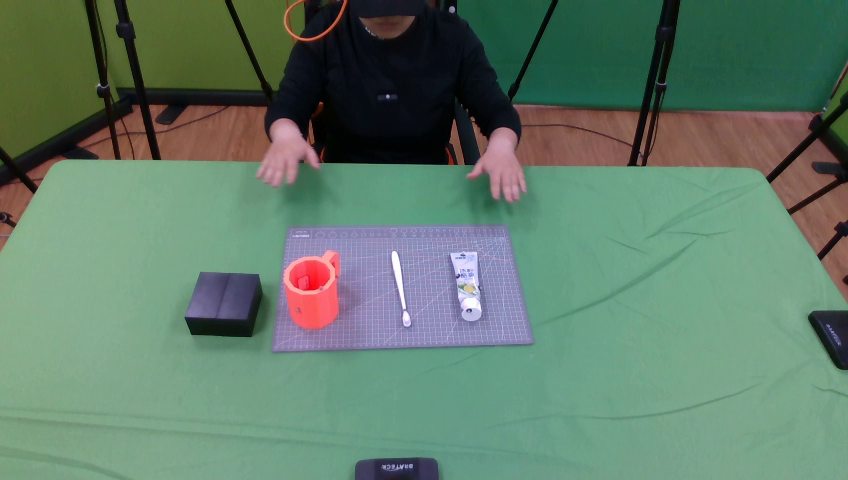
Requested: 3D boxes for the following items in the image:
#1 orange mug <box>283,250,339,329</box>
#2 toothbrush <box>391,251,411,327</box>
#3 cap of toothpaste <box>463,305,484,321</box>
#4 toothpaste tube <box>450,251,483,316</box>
[{"bbox_3d":[-0.186,0.078,1.052,0.083,0.101,0.126,20,52,15],"label":"orange mug"},{"bbox_3d":[-0.044,0.085,1.112,0.014,0.017,0.180,-14,46,1],"label":"toothbrush"},{"bbox_3d":[0.087,0.127,1.064,0.037,0.037,0.011,2,40,-2],"label":"cap of toothpaste"},{"bbox_3d":[0.084,0.077,1.122,0.055,0.035,0.164,3,41,-8],"label":"toothpaste tube"}]
